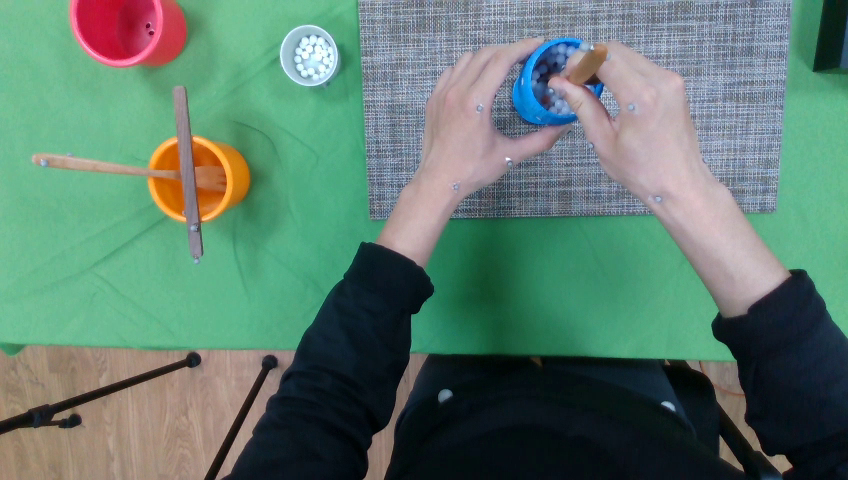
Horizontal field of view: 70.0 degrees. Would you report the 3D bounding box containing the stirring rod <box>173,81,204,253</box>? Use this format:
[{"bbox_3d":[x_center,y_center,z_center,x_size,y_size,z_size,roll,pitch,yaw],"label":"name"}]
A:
[{"bbox_3d":[-0.243,-0.074,0.625,0.014,0.006,0.176,-1,100,4],"label":"stirring rod"}]

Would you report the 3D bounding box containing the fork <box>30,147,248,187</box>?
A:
[{"bbox_3d":[-0.286,-0.076,0.630,0.209,0.018,0.028,3,111,-41],"label":"fork"}]

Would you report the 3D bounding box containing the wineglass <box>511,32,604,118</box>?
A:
[{"bbox_3d":[0.120,-0.150,0.571,0.073,0.172,0.074,1,100,4],"label":"wineglass"}]

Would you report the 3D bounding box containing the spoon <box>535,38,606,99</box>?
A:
[{"bbox_3d":[0.114,-0.128,0.466,0.041,0.193,0.021,23,100,0],"label":"spoon"}]

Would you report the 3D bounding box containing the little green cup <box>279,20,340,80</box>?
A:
[{"bbox_3d":[-0.120,-0.201,0.650,0.061,0.038,0.062,1,101,5],"label":"little green cup"}]
